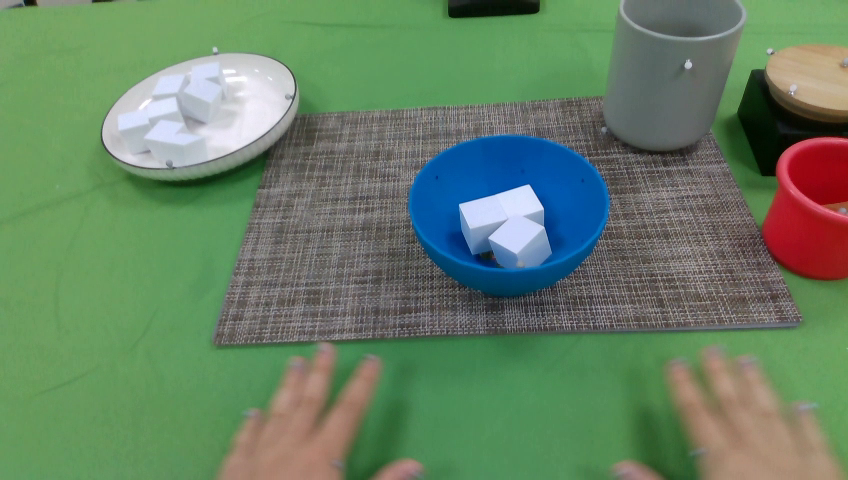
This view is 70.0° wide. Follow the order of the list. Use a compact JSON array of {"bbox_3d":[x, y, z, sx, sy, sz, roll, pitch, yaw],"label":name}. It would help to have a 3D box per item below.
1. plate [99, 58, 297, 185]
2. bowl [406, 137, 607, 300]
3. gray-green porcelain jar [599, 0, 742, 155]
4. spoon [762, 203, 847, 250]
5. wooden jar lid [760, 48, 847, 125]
[{"bbox_3d":[-0.238,-0.127,0.655,0.209,0.038,0.207,-3,47,4],"label":"plate"},{"bbox_3d":[0.063,-0.005,0.482,0.151,0.077,0.150,-3,47,3],"label":"bowl"},{"bbox_3d":[0.223,-0.153,0.569,0.106,0.128,0.105,-3,47,4],"label":"gray-green porcelain jar"},{"bbox_3d":[0.348,-0.033,0.439,0.022,0.193,0.041,40,48,-20],"label":"spoon"},{"bbox_3d":[0.363,-0.139,0.551,0.108,0.021,0.107,-3,47,4],"label":"wooden jar lid"}]
